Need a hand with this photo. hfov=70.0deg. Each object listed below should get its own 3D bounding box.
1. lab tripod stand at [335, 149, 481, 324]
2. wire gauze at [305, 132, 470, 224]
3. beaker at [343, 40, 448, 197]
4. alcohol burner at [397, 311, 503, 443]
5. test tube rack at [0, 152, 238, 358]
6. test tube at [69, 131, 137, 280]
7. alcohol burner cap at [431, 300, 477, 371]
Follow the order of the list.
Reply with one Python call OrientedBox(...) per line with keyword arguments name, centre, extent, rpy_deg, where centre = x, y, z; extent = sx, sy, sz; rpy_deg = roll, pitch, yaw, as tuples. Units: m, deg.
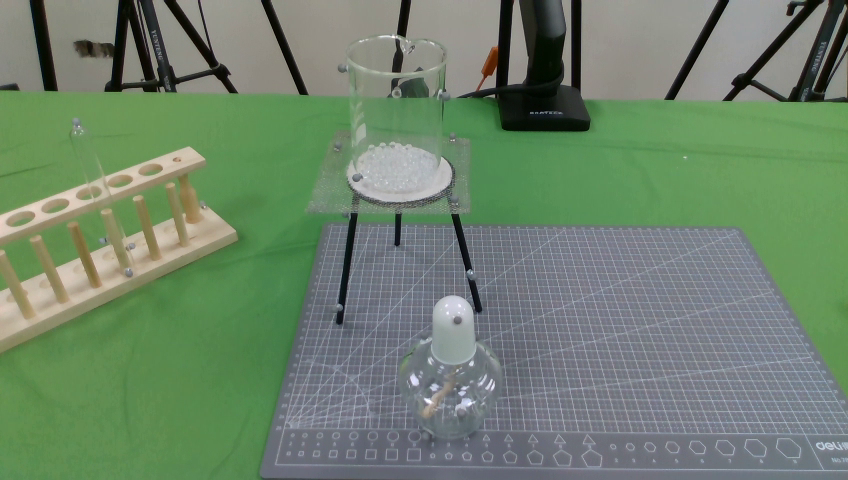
OrientedBox(name="lab tripod stand", centre=(-0.016, -0.001, 0.531), extent=(0.148, 0.132, 0.147), rpy_deg=(2, 37, -1))
OrientedBox(name="wire gauze", centre=(-0.024, -0.052, 0.488), extent=(0.121, 0.011, 0.124), rpy_deg=(2, 40, 2))
OrientedBox(name="beaker", centre=(-0.021, -0.091, 0.460), extent=(0.074, 0.101, 0.083), rpy_deg=(8, 38, 6))
OrientedBox(name="alcohol burner", centre=(0.019, 0.090, 0.432), extent=(0.078, 0.120, 0.077), rpy_deg=(1, 40, 0))
OrientedBox(name="test tube rack", centre=(-0.304, 0.008, 0.559), extent=(0.242, 0.086, 0.066), rpy_deg=(-30, 47, -33))
OrientedBox(name="test tube", centre=(-0.279, -0.026, 0.530), extent=(0.017, 0.151, 0.017), rpy_deg=(1, 37, 0))
OrientedBox(name="alcohol burner cap", centre=(0.020, 0.061, 0.410), extent=(0.034, 0.048, 0.033), rpy_deg=(-1, 38, 1))
